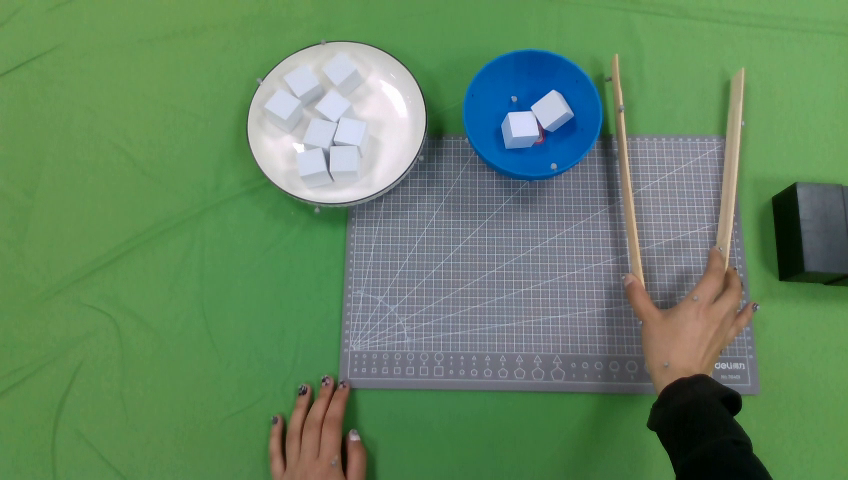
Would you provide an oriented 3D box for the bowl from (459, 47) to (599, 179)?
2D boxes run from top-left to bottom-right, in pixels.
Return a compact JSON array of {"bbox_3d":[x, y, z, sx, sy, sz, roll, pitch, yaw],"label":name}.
[{"bbox_3d":[0.113,-0.130,0.685,0.151,0.077,0.150,0,75,0],"label":"bowl"}]

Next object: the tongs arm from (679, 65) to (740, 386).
[{"bbox_3d":[0.325,-0.025,0.680,0.028,0.028,0.386,15,76,-3],"label":"tongs arm"}]

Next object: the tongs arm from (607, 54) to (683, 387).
[{"bbox_3d":[0.244,-0.032,0.679,0.051,0.026,0.382,1,76,-3],"label":"tongs arm"}]

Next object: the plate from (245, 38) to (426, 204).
[{"bbox_3d":[-0.101,-0.137,0.710,0.207,0.039,0.206,0,75,2],"label":"plate"}]
